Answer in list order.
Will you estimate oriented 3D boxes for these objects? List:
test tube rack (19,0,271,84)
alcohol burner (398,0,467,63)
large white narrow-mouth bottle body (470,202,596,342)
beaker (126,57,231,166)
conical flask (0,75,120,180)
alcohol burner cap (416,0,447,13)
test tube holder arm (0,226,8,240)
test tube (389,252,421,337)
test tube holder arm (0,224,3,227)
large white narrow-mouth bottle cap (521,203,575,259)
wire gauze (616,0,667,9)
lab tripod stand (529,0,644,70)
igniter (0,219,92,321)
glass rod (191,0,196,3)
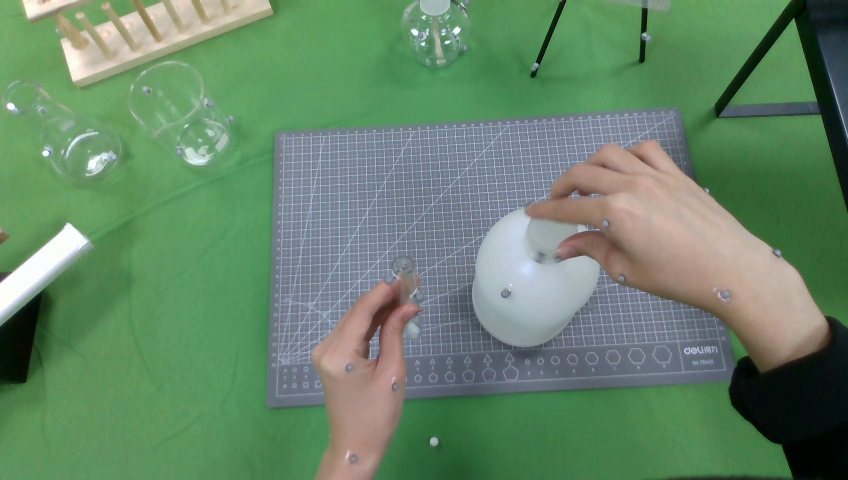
[{"bbox_3d":[-0.309,-0.270,0.688,0.242,0.086,0.066,-24,72,-7],"label":"test tube rack"},{"bbox_3d":[0.009,-0.249,0.659,0.078,0.120,0.077,0,69,0],"label":"alcohol burner"},{"bbox_3d":[0.093,0.024,0.518,0.102,0.196,0.101,-1,72,2],"label":"large white narrow-mouth bottle body"},{"bbox_3d":[-0.250,-0.126,0.630,0.074,0.101,0.083,11,72,6],"label":"beaker"},{"bbox_3d":[-0.375,-0.118,0.618,0.075,0.122,0.075,-1,70,2],"label":"conical flask"},{"bbox_3d":[0.007,-0.263,0.625,0.034,0.048,0.033,0,70,1],"label":"alcohol burner cap"},{"bbox_3d":[-0.439,0.019,0.578,0.010,0.015,0.087,41,76,13],"label":"test tube holder arm"},{"bbox_3d":[-0.012,0.046,0.456,0.017,0.151,0.017,-1,65,2],"label":"test tube"},{"bbox_3d":[-0.473,0.047,0.568,0.013,0.015,0.178,40,76,13],"label":"test tube holder arm"},{"bbox_3d":[0.088,-0.006,0.427,0.038,0.024,0.037,0,72,2],"label":"large white narrow-mouth bottle cap"},{"bbox_3d":[0.184,-0.282,0.583,0.121,0.011,0.124,17,73,5],"label":"wire gauze"},{"bbox_3d":[0.179,-0.257,0.646,0.148,0.132,0.147,0,70,0],"label":"lab tripod stand"},{"bbox_3d":[-0.426,0.086,0.551,0.057,0.025,0.276,40,73,12],"label":"igniter"},{"bbox_3d":[-0.290,-0.327,0.637,0.008,0.201,0.008,-3,65,7],"label":"glass rod"}]
